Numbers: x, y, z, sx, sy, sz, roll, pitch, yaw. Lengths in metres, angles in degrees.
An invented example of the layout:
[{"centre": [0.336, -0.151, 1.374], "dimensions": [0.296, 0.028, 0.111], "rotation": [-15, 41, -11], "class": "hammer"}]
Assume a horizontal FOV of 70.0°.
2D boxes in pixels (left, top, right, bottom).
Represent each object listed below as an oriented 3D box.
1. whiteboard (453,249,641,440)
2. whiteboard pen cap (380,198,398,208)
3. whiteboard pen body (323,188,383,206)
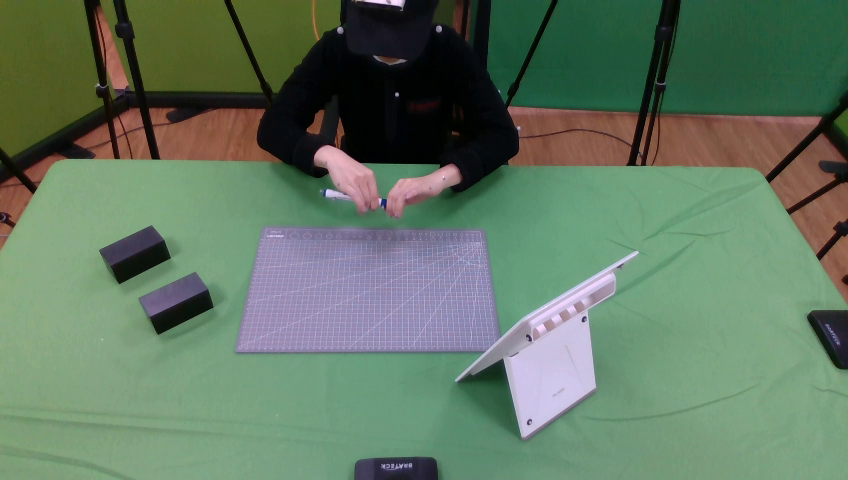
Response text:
[{"centre": [0.206, 0.174, 0.890], "dimensions": [0.217, 0.306, 0.143], "rotation": [-25, 72, -25], "class": "whiteboard"}, {"centre": [-0.067, -0.072, 1.166], "dimensions": [0.033, 0.018, 0.018], "rotation": [9, 46, 0], "class": "whiteboard pen cap"}, {"centre": [-0.125, -0.081, 1.167], "dimensions": [0.141, 0.017, 0.017], "rotation": [10, 46, -1], "class": "whiteboard pen body"}]
